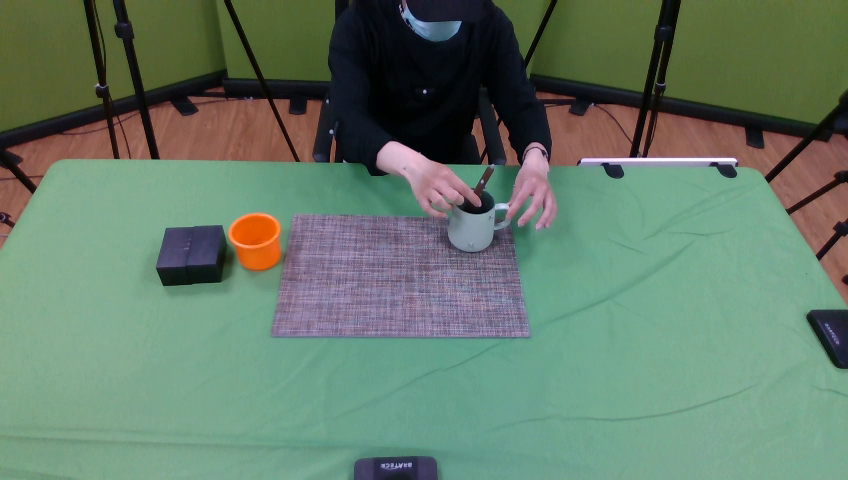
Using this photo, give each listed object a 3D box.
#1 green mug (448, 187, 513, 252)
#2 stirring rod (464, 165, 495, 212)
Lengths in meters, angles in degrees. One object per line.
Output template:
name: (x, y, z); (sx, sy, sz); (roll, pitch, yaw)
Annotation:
green mug: (0.112, -0.041, 1.180); (0.125, 0.105, 0.092); (-7, 46, -10)
stirring rod: (0.090, -0.072, 1.131); (0.014, 0.176, 0.006); (18, 41, -10)
